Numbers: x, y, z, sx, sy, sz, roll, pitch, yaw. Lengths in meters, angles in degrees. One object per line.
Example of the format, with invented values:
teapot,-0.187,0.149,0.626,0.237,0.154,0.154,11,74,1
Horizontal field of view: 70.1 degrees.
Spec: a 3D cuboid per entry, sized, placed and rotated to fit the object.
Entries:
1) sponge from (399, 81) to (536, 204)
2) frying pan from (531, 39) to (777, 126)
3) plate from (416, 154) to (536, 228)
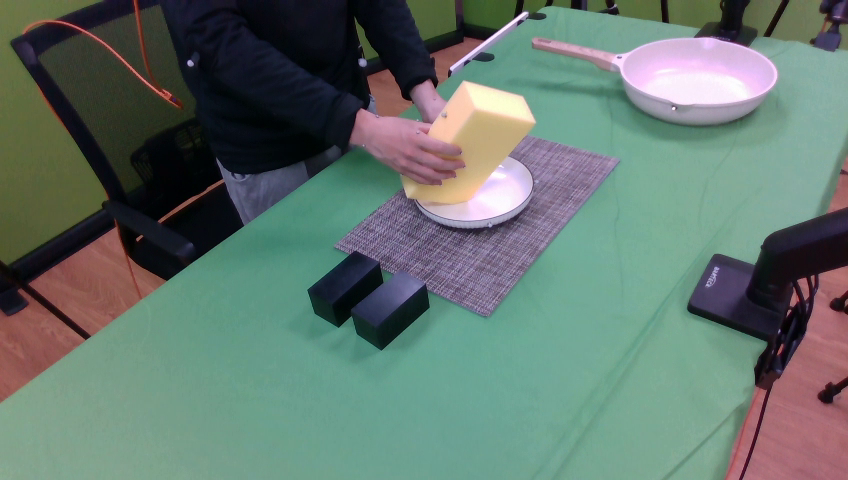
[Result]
sponge,0.063,-0.145,0.959,0.119,0.206,0.060,5,52,-34
frying pan,0.452,-0.354,1.254,0.485,0.103,0.307,22,47,19
plate,0.087,-0.085,1.038,0.207,0.039,0.206,-4,41,4
